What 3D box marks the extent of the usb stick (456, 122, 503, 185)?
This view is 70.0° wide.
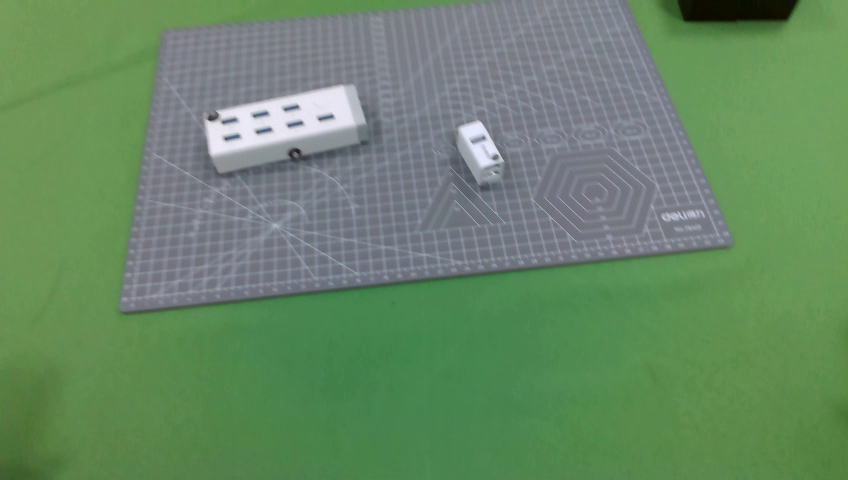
[{"bbox_3d":[0.042,-0.074,0.486,0.021,0.027,0.058,-20,57,-9],"label":"usb stick"}]

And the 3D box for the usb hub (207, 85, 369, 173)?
[{"bbox_3d":[-0.112,-0.093,0.500,0.125,0.025,0.049,-13,59,-8],"label":"usb hub"}]
